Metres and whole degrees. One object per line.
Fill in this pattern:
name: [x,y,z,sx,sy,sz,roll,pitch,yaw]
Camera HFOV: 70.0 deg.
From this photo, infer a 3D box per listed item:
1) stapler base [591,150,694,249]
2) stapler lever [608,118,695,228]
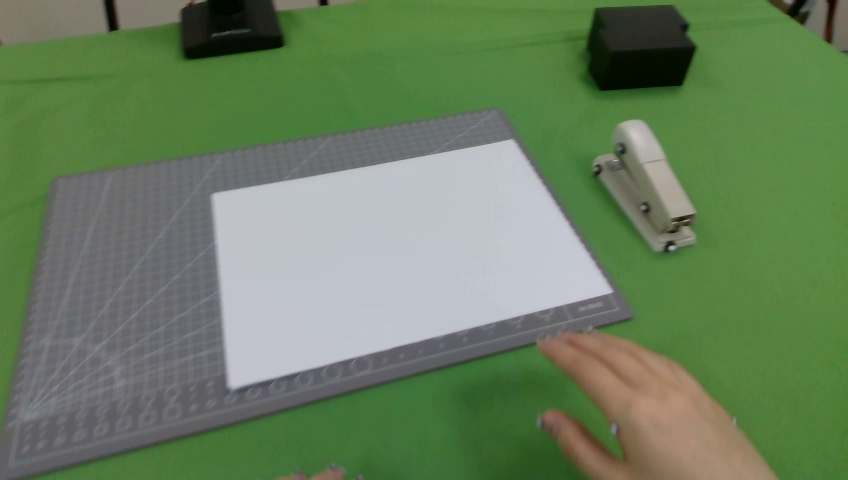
stapler base: [0.200,-0.047,0.561,0.041,0.024,0.129,-14,50,-10]
stapler lever: [0.201,-0.063,0.541,0.027,0.040,0.116,-14,50,-10]
